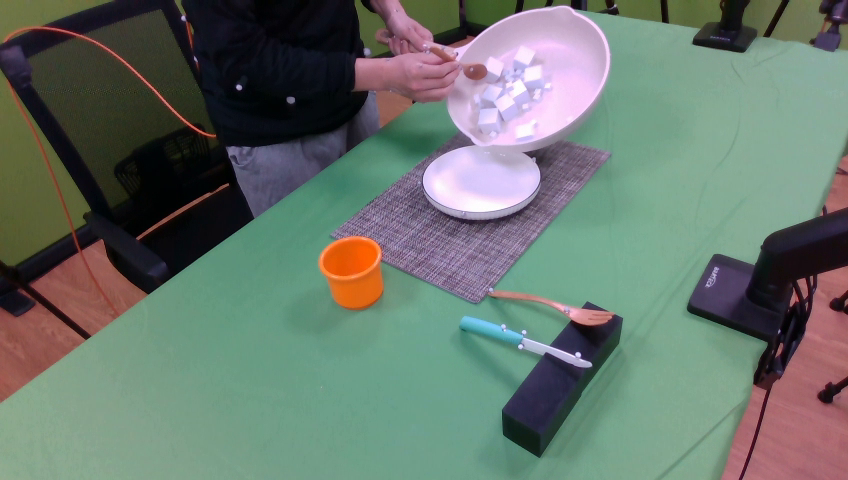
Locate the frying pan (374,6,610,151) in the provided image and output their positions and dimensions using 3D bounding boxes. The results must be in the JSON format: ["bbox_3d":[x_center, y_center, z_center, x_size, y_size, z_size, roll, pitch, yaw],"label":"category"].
[{"bbox_3d":[0.102,-0.321,1.120,0.484,0.103,0.306,28,78,25],"label":"frying pan"}]

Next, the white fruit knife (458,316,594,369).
[{"bbox_3d":[0.120,0.126,0.757,0.205,0.027,0.016,12,45,43],"label":"white fruit knife"}]

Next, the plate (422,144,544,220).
[{"bbox_3d":[0.102,-0.097,1.048,0.207,0.039,0.206,-4,40,4],"label":"plate"}]

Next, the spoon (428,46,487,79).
[{"bbox_3d":[0.060,-0.308,1.048,0.041,0.021,0.195,-22,-6,28],"label":"spoon"}]

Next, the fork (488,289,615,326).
[{"bbox_3d":[0.160,0.086,0.800,0.205,0.019,0.028,12,48,48],"label":"fork"}]
